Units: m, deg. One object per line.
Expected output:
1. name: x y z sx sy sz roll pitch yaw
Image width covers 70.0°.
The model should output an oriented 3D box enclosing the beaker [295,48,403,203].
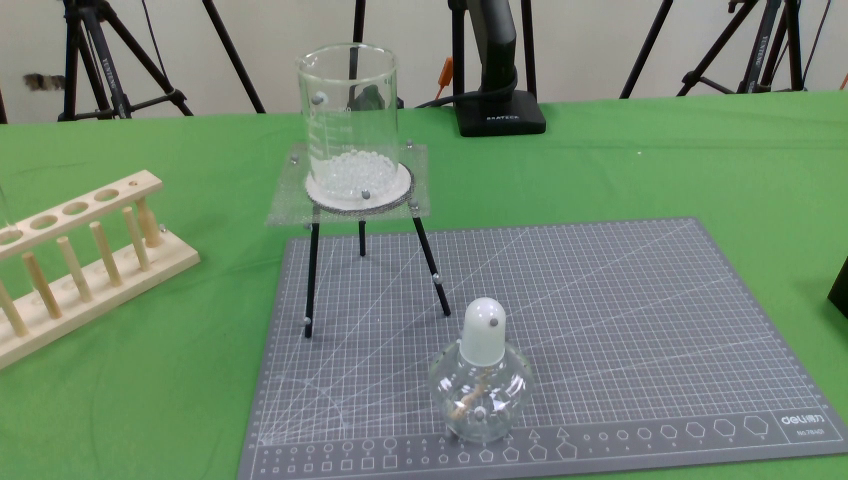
1. beaker: -0.057 -0.086 0.463 0.083 0.101 0.074 22 42 25

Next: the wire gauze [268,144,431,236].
1. wire gauze: -0.056 -0.046 0.491 0.121 0.011 0.124 -1 39 -1

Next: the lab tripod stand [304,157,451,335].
1. lab tripod stand: -0.047 0.005 0.533 0.148 0.132 0.147 0 36 0

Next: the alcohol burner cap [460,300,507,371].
1. alcohol burner cap: 0.042 0.062 0.412 0.034 0.048 0.033 1 38 -1

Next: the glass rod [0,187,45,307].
1. glass rod: -0.358 -0.026 0.517 0.008 0.201 0.008 0 30 0

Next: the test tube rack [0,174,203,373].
1. test tube rack: -0.335 0.034 0.547 0.066 0.086 0.242 28 46 33

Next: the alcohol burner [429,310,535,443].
1. alcohol burner: 0.042 0.090 0.433 0.078 0.120 0.077 0 39 0
